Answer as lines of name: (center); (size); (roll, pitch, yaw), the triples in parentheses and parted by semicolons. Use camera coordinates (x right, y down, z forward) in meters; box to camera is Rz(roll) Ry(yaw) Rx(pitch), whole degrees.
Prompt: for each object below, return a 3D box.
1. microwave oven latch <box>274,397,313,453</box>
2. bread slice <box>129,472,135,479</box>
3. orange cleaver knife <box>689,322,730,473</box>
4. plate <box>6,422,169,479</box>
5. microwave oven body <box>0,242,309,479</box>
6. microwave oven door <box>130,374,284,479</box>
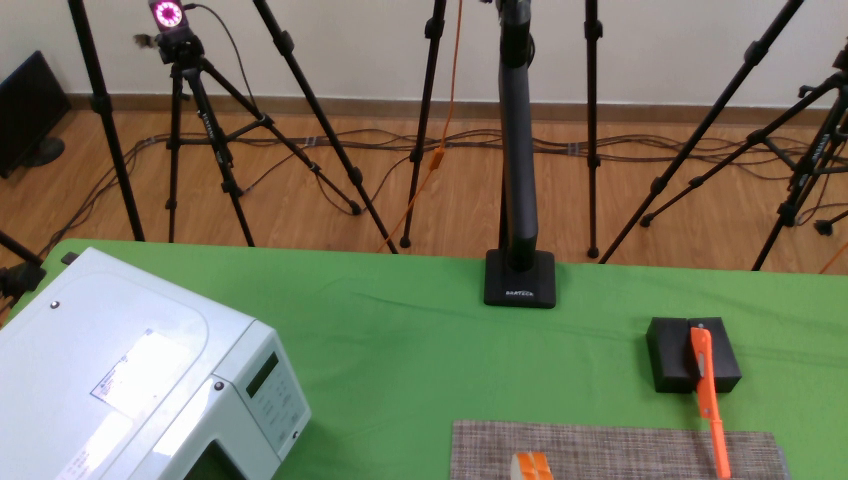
microwave oven latch: (-0.188, 0.257, 0.855); (0.030, 0.030, 0.079); (21, 56, 19)
bread slice: (-0.419, 0.357, 0.739); (0.135, 0.018, 0.106); (-13, 50, -21)
orange cleaver knife: (0.396, 0.214, 0.848); (0.012, 0.077, 0.210); (-2, 71, 5)
plate: (-0.421, 0.332, 0.751); (0.208, 0.039, 0.205); (1, 49, 0)
microwave oven body: (-0.405, 0.274, 0.728); (0.324, 0.262, 0.439); (20, 55, 18)
microwave oven door: (-0.293, 0.345, 0.656); (0.039, 0.246, 0.354); (19, 54, 19)
